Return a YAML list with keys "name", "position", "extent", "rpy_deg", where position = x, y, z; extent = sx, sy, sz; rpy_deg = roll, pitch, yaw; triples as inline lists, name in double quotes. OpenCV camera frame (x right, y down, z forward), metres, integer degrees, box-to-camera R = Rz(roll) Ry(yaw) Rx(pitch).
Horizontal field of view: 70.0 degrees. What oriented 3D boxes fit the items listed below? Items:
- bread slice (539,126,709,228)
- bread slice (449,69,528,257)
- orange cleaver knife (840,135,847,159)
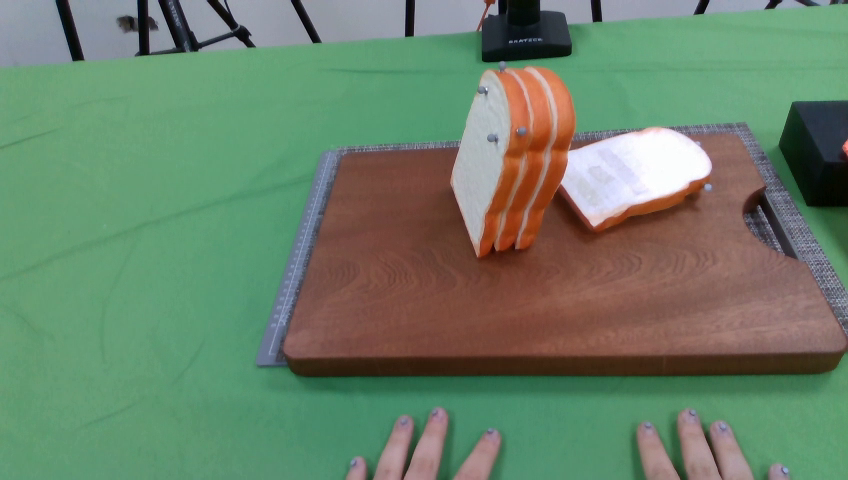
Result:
- name: "bread slice"
  position: [0.185, -0.061, 0.547]
  extent: [0.131, 0.019, 0.103]
  rpy_deg: [-18, 42, -5]
- name: "bread slice"
  position: [0.052, -0.071, 0.504]
  extent: [0.018, 0.135, 0.106]
  rpy_deg: [0, 40, -15]
- name: "orange cleaver knife"
  position: [0.383, -0.010, 0.473]
  extent: [0.077, 0.012, 0.209]
  rpy_deg: [5, 60, 10]
